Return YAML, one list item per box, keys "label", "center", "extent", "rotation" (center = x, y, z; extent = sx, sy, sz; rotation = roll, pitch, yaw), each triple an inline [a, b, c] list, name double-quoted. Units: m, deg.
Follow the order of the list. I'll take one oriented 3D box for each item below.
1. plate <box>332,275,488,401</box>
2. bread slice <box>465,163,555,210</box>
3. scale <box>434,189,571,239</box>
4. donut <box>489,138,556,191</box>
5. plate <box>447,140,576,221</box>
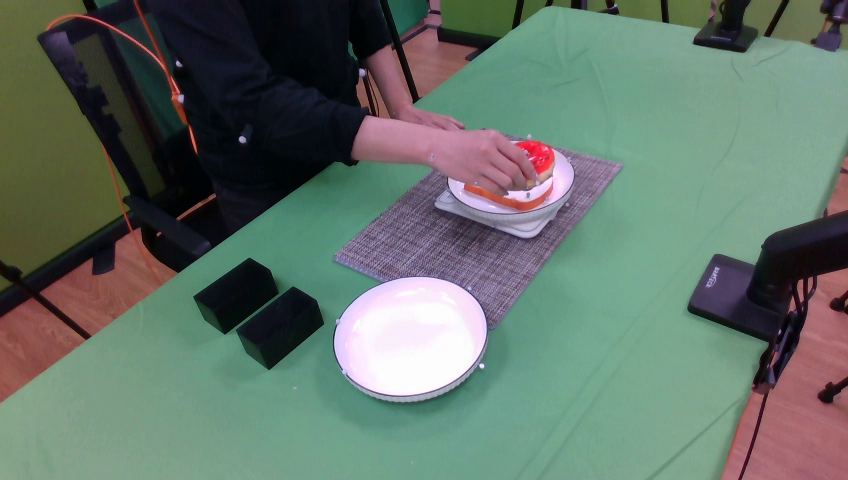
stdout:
- label: "plate"
  center: [-0.017, 0.131, 0.808]
  extent: [0.207, 0.039, 0.206]
  rotation: [-4, 41, 4]
- label: "bread slice"
  center: [0.149, -0.096, 0.998]
  extent: [0.130, 0.019, 0.105]
  rotation: [25, 51, 32]
- label: "scale"
  center: [0.132, -0.075, 1.025]
  extent: [0.199, 0.032, 0.149]
  rotation: [22, 48, 30]
- label: "donut"
  center: [0.143, -0.110, 0.880]
  extent: [0.099, 0.048, 0.098]
  rotation: [-14, 37, 12]
- label: "plate"
  center: [0.143, -0.094, 0.995]
  extent: [0.209, 0.038, 0.208]
  rotation: [-4, 41, 4]
